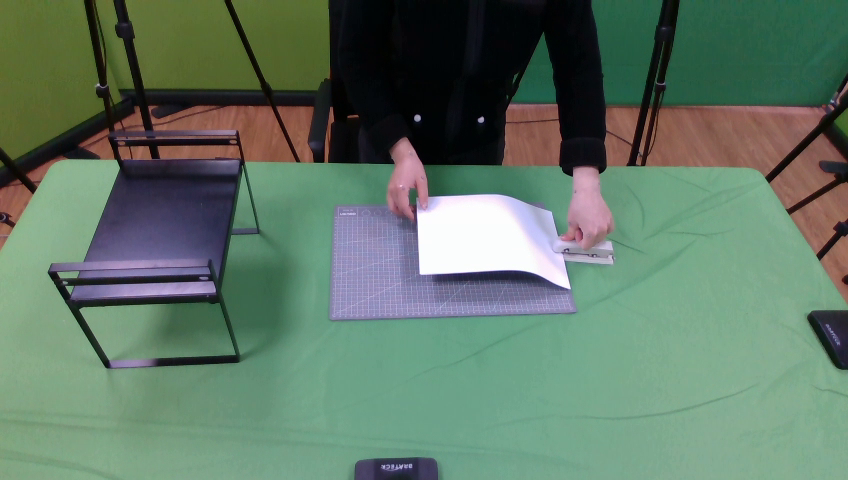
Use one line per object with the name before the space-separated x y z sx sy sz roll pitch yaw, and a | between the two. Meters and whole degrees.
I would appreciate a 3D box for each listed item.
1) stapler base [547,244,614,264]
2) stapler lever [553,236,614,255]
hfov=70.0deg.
stapler base | 0.311 0.022 1.198 0.130 0.024 0.041 5 48 -3
stapler lever | 0.313 0.011 1.187 0.118 0.040 0.026 -2 47 5
